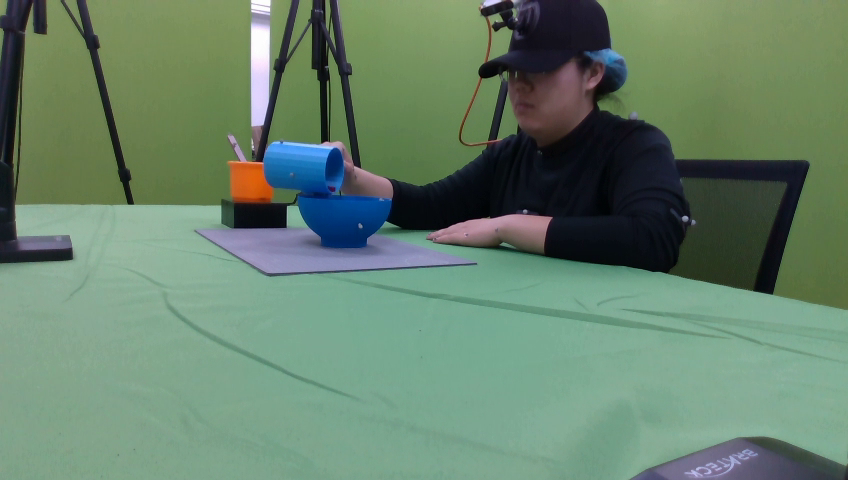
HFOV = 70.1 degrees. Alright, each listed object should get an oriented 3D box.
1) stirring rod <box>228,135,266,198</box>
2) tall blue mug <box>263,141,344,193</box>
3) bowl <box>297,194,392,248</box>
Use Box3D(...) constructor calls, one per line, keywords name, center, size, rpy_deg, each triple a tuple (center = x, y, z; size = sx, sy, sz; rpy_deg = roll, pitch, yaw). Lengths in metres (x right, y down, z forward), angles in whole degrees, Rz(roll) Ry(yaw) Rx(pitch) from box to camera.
Box3D(name="stirring rod", center=(-0.352, -0.148, 1.198), size=(0.014, 0.006, 0.175), rpy_deg=(-6, 54, -44))
Box3D(name="tall blue mug", center=(-0.190, -0.129, 0.993), size=(0.108, 0.078, 0.107), rpy_deg=(6, 47, 15))
Box3D(name="bowl", center=(-0.127, -0.030, 0.964), size=(0.151, 0.077, 0.151), rpy_deg=(2, 7, 0))
